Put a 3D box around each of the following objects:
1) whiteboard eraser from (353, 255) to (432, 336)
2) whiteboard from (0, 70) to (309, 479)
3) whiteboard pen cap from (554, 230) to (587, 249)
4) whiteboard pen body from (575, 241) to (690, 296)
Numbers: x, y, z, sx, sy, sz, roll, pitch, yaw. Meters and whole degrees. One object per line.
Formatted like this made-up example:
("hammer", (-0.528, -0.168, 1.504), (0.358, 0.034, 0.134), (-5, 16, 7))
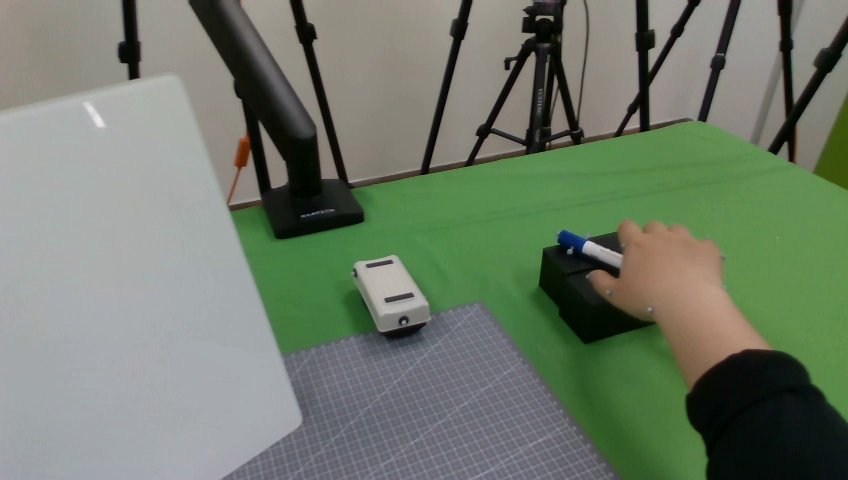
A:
("whiteboard eraser", (-0.036, 0.058, 0.645), (0.056, 0.042, 0.111), (-14, 32, -16))
("whiteboard", (-0.255, 0.054, 0.461), (0.217, 0.307, 0.143), (-28, 23, -35))
("whiteboard pen cap", (0.160, 0.000, 0.663), (0.033, 0.018, 0.018), (-13, 31, 12))
("whiteboard pen body", (0.207, 0.024, 0.630), (0.139, 0.017, 0.017), (26, 41, 35))
